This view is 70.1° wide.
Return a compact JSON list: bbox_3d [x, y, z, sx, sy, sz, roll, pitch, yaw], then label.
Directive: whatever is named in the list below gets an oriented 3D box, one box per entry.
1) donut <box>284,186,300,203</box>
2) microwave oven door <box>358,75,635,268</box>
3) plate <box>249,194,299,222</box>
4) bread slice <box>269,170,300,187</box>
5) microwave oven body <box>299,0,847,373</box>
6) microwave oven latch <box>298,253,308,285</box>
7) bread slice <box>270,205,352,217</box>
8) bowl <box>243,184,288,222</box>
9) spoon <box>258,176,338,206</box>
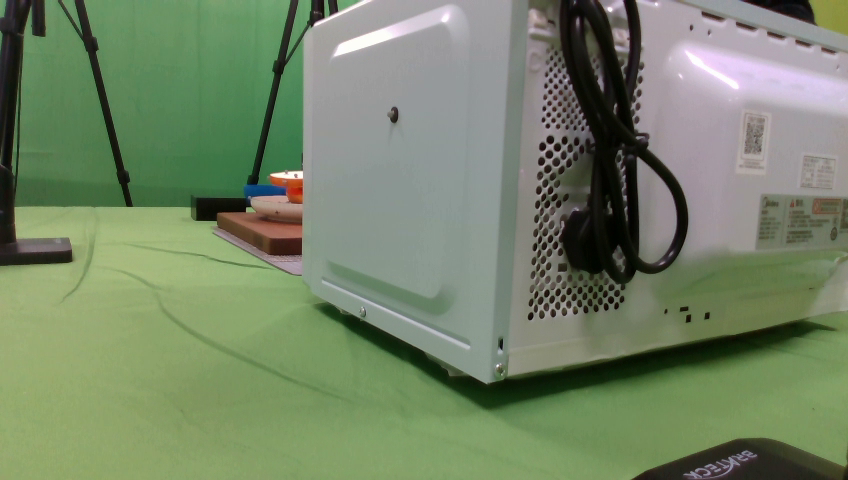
[{"bbox_3d":[-0.210,-0.087,1.124,0.099,0.048,0.099,3,0,0],"label":"donut"},{"bbox_3d":[0.088,-0.096,0.811,0.355,0.243,0.039,4,8,11],"label":"microwave oven door"},{"bbox_3d":[-0.217,-0.058,1.122,0.208,0.039,0.207,3,7,0],"label":"plate"},{"bbox_3d":[-0.213,-0.115,1.113,0.106,0.018,0.135,9,16,38],"label":"bread slice"},{"bbox_3d":[0.152,-0.055,0.542,0.444,0.260,0.324,-2,7,-33],"label":"microwave oven body"},{"bbox_3d":[-0.081,0.027,0.582,0.079,0.029,0.030,-1,7,-32],"label":"microwave oven latch"},{"bbox_3d":[-0.214,-0.054,1.116,0.104,0.019,0.132,6,5,41],"label":"bread slice"},{"bbox_3d":[-0.321,-0.081,1.334,0.151,0.077,0.151,3,7,0],"label":"bowl"},{"bbox_3d":[-0.279,-0.112,1.356,0.194,0.021,0.041,-27,19,-27],"label":"spoon"}]
